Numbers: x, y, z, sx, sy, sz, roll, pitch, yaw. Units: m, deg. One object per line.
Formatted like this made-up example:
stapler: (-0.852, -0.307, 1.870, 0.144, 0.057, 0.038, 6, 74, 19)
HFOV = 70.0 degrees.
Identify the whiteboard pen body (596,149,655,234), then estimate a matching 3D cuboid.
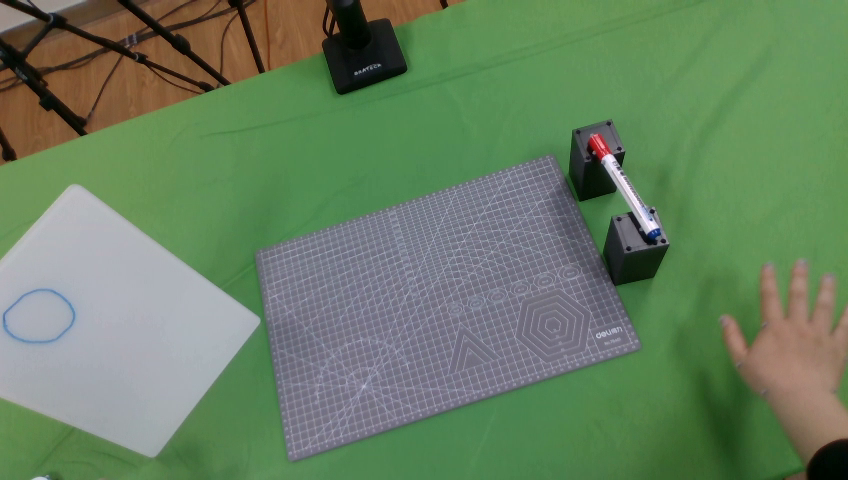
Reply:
whiteboard pen body: (0.228, -0.067, 0.705, 0.017, 0.017, 0.139, -23, 65, -1)

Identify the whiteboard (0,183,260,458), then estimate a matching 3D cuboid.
whiteboard: (-0.395, 0.089, 0.727, 0.142, 0.309, 0.216, 23, 71, 40)

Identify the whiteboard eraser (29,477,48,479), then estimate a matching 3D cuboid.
whiteboard eraser: (-0.467, 0.338, 0.749, 0.041, 0.019, 0.100, -43, 67, -12)

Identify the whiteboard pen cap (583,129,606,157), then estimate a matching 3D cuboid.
whiteboard pen cap: (0.206, -0.117, 0.731, 0.017, 0.017, 0.032, -23, 65, -1)
